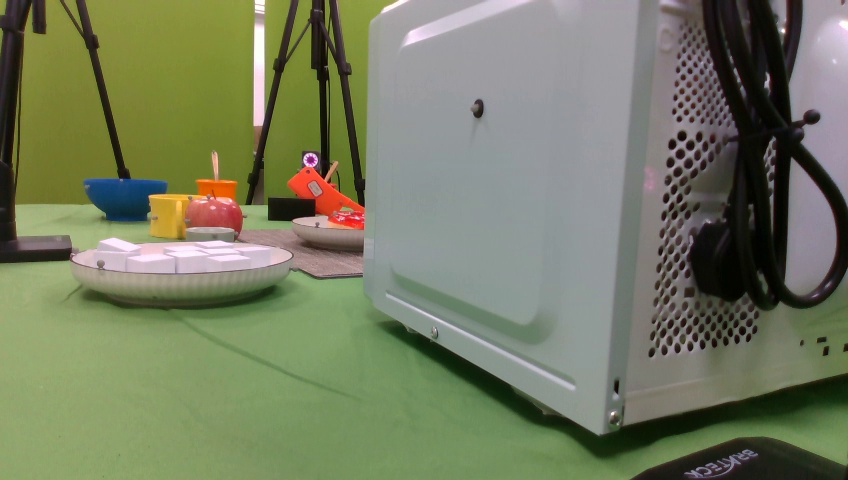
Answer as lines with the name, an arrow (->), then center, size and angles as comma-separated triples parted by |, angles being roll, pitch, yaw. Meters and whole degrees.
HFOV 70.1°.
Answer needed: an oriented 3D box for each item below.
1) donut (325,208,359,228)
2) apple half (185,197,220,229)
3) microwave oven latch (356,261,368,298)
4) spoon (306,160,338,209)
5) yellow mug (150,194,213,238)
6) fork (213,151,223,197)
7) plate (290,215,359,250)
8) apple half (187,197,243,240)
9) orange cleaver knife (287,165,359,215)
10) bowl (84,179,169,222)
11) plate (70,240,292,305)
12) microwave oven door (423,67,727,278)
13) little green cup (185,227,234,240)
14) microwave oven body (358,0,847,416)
donut -> -0.110, -0.025, 0.974 | 0.099, 0.048, 0.099 | 5, 8, 0
apple half -> -0.338, -0.031, 0.927 | 0.032, 0.081, 0.081 | 12, 12, 31
microwave oven latch -> -0.020, 0.033, 0.530 | 0.079, 0.029, 0.030 | 0, 7, -26
spoon -> -0.257, -0.147, 1.567 | 0.041, 0.022, 0.193 | 1, 51, 20
yellow mug -> -0.401, -0.040, 1.003 | 0.100, 0.064, 0.130 | -1, 9, -20
fork -> -0.493, -0.143, 1.442 | 0.028, 0.018, 0.206 | -3, 52, -18
plate -> -0.110, -0.014, 0.973 | 0.209, 0.038, 0.209 | 3, 8, 0
apple half -> -0.305, -0.026, 0.907 | 0.053, 0.074, 0.081 | 12, 8, 31
orange cleaver knife -> -0.210, -0.093, 1.382 | 0.212, 0.077, 0.012 | 33, 1, -15
bowl -> -0.584, -0.078, 1.194 | 0.151, 0.077, 0.151 | 3, 8, 0
plate -> -0.242, 0.031, 0.618 | 0.208, 0.039, 0.207 | 2, 8, 0
microwave oven door -> 0.173, -0.090, 0.760 | 0.355, 0.243, 0.039 | 5, 8, 20
little green cup -> -0.285, 0.005, 0.805 | 0.061, 0.038, 0.061 | 2, 8, 0
microwave oven body -> 0.210, -0.047, 0.475 | 0.444, 0.260, 0.324 | -1, 7, -28
